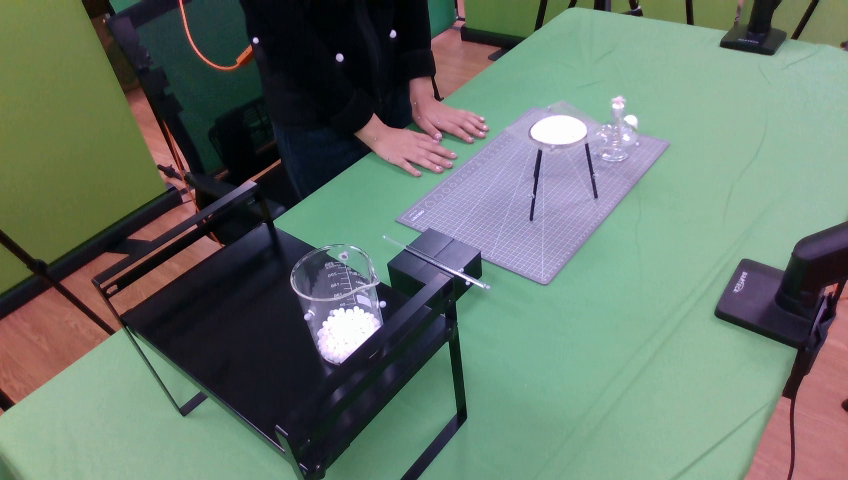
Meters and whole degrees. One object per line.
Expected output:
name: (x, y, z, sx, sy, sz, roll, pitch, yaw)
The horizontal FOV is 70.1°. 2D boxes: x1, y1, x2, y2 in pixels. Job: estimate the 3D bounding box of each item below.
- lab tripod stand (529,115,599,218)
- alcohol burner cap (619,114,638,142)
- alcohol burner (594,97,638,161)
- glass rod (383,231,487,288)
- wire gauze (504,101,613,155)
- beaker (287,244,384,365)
lab tripod stand: (0.217, -0.123, 0.995, 0.148, 0.132, 0.147, -4, 42, 4)
alcohol burner cap: (0.388, -0.214, 1.145, 0.034, 0.048, 0.033, -3, 39, 3)
alcohol burner: (0.345, -0.203, 1.083, 0.078, 0.119, 0.077, -5, 42, 5)
glass rod: (0.011, 0.027, 0.879, 0.198, 0.008, 0.008, 27, 51, 34)
wire gauze: (0.211, -0.176, 0.955, 0.125, 0.011, 0.120, -24, 44, -18)
beaker: (-0.076, 0.065, 0.574, 0.083, 0.101, 0.074, 7, 44, 15)
